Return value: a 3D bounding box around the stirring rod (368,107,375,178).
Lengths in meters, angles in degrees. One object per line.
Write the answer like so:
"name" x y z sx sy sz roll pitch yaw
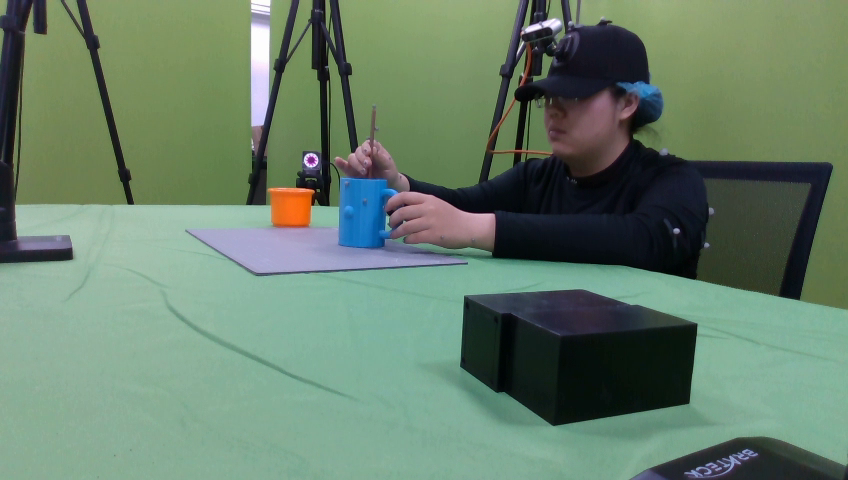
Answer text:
"stirring rod" -0.085 -0.125 0.961 0.006 0.176 0.014 3 -2 -20

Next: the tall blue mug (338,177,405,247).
"tall blue mug" -0.083 -0.045 0.973 0.107 0.108 0.078 2 6 0
